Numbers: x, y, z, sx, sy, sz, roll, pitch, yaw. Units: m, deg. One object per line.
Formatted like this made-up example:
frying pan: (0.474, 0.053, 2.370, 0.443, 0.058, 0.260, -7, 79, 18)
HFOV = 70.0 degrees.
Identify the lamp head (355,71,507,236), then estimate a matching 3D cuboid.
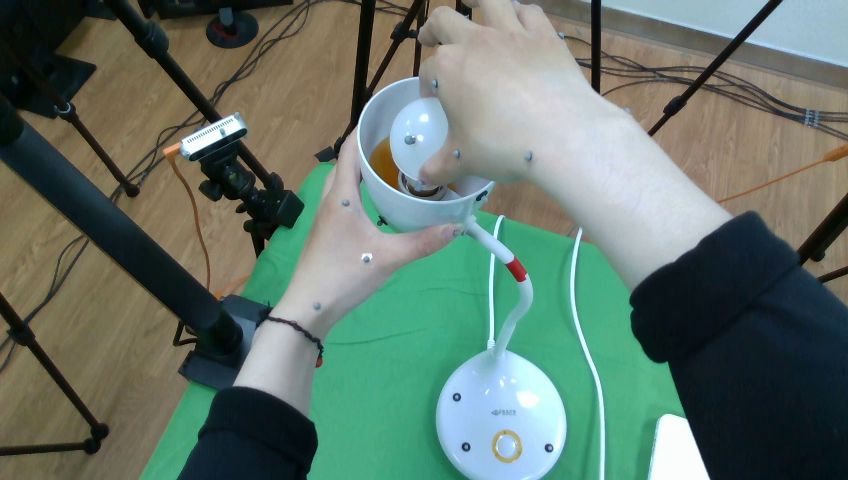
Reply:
lamp head: (0.004, -0.052, 0.484, 0.112, 0.124, 0.111, 1, 61, -2)

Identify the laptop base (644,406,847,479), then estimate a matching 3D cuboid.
laptop base: (0.417, 0.352, 0.682, 0.353, 0.023, 0.234, 17, 66, 8)

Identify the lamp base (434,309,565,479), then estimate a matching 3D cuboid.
lamp base: (0.090, 0.164, 0.682, 0.161, 0.181, 0.177, -10, 60, -6)

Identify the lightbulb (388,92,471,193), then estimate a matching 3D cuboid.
lightbulb: (0.001, -0.066, 0.455, 0.059, 0.108, 0.059, 3, 68, -6)

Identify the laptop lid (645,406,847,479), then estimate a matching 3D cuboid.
laptop lid: (0.416, 0.349, 0.670, 0.356, 0.013, 0.240, 18, 65, 9)
